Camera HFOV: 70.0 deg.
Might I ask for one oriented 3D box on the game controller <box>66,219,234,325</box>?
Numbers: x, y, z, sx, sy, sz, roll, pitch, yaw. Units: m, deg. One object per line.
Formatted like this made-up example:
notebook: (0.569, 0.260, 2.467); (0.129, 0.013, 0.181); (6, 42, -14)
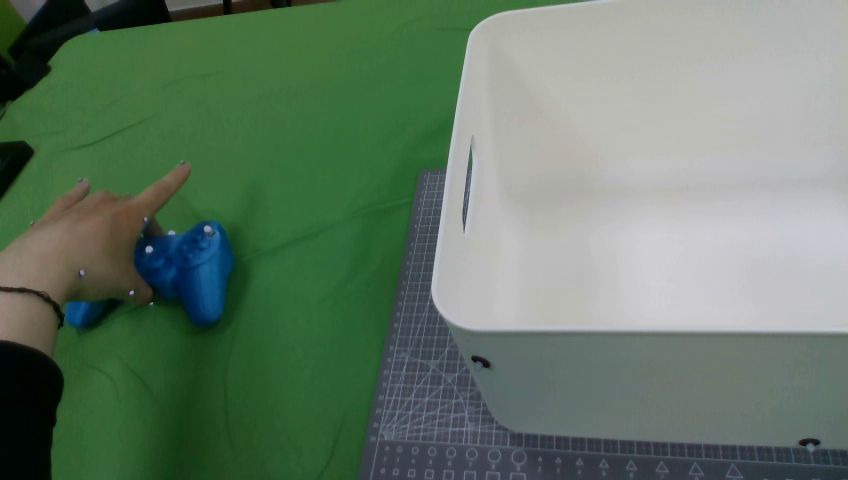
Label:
game controller: (-0.245, 0.025, 0.542); (0.155, 0.052, 0.096); (-2, 49, 13)

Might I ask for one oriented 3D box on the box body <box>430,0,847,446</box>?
box body: (0.207, -0.017, 0.372); (0.363, 0.162, 0.252); (-2, 52, 14)
